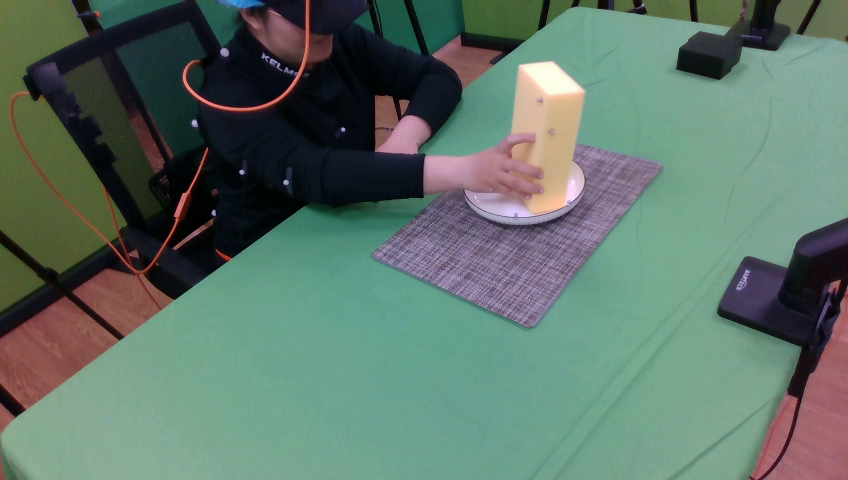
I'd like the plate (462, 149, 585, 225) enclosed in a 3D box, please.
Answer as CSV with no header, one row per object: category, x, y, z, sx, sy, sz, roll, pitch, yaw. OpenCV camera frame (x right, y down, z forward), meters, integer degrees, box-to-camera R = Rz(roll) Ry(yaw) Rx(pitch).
plate,0.170,-0.089,1.041,0.207,0.039,0.206,-5,40,5

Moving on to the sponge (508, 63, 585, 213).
sponge,0.192,-0.164,0.977,0.061,0.207,0.117,-9,37,-12
